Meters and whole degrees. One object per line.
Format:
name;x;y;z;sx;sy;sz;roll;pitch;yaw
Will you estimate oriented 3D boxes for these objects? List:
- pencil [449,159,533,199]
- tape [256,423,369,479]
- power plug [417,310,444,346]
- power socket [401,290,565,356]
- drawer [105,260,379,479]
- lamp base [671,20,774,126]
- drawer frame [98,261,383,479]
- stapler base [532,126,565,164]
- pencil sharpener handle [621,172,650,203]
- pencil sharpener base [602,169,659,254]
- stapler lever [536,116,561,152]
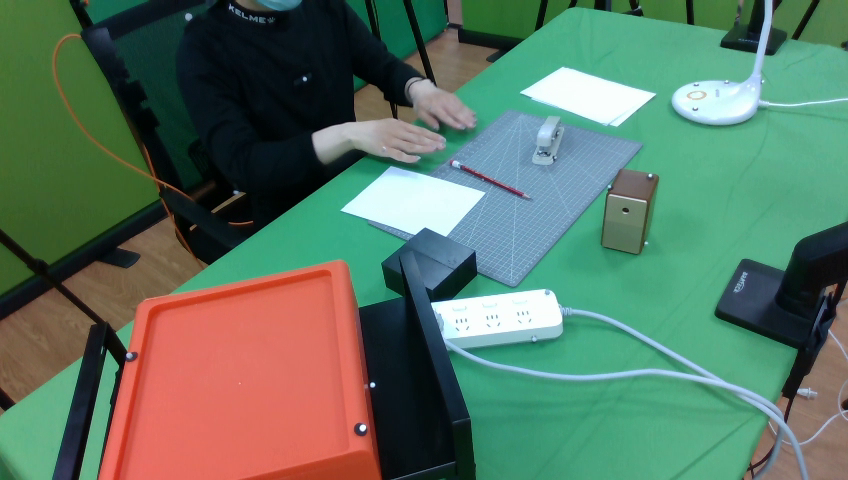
pencil;0.118;-0.110;1.091;0.192;0.012;0.012;30;53;34
tape;-0.121;0.263;0.660;0.117;0.053;0.116;-4;40;4
power plug;0.006;0.122;0.785;0.035;0.053;0.072;0;40;8
power socket;0.080;0.112;0.822;0.227;0.033;0.072;-6;41;0
drawer;-0.150;0.127;0.525;0.195;0.073;0.210;-11;41;-5
lamp base;0.581;-0.332;1.154;0.179;0.181;0.160;2;41;7
drawer frame;-0.149;0.129;0.520;0.202;0.083;0.212;-12;41;-6
stapler base;0.238;-0.189;1.155;0.041;0.024;0.130;10;42;17
pencil sharpener handle;0.328;-0.087;0.941;0.036;0.068;0.030;30;49;7
pencil sharpener base;0.312;-0.044;0.914;0.061;0.107;0.077;14;45;24
stapler lever;0.236;-0.209;1.140;0.026;0.040;0.118;10;43;18
